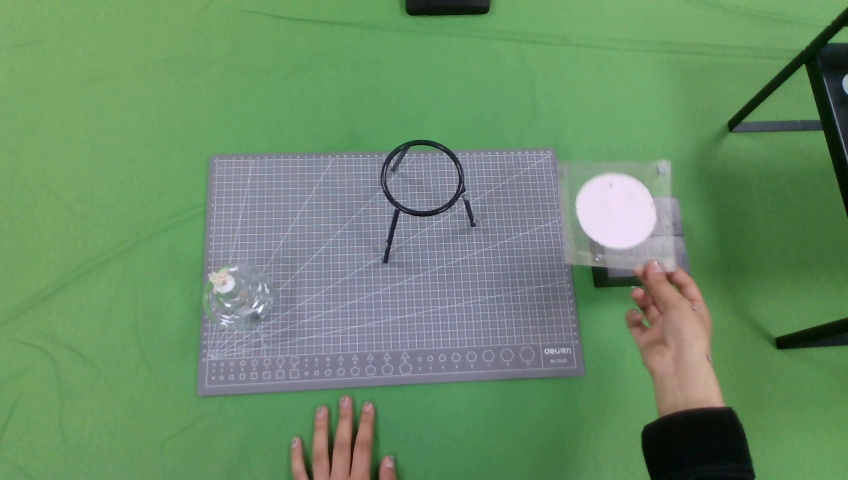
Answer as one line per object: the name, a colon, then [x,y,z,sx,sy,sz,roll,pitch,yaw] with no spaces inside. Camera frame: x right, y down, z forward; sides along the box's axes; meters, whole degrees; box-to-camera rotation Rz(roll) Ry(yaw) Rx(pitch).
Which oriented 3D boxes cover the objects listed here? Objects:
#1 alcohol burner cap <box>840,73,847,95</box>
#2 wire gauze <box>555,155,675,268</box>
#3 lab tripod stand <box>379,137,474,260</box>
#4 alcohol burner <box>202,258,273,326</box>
alcohol burner cap: [0.471,-0.174,0.638,0.034,0.048,0.033,1,75,-3]
wire gauze: [0.203,-0.032,0.642,0.125,0.011,0.121,2,78,-3]
lab tripod stand: [-0.008,-0.053,0.704,0.148,0.132,0.147,1,72,-2]
alcohol burner: [-0.209,0.053,0.667,0.078,0.119,0.077,1,74,-4]
